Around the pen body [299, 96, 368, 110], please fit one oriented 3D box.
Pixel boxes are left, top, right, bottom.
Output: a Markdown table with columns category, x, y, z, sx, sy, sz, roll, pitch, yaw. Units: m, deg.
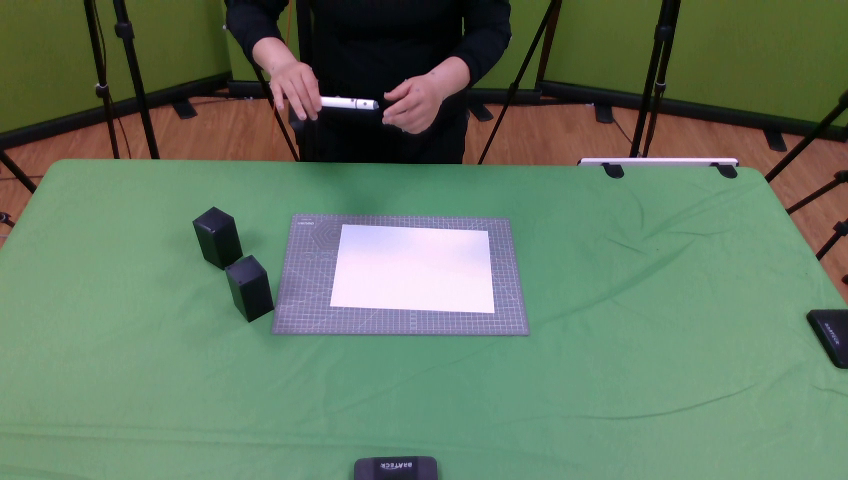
| category | x | y | z | sx | sy | sz | roll | pitch | yaw |
| --- | --- | --- | --- | --- | --- | --- | --- | --- | --- |
| pen body | -0.161 | -0.245 | 1.089 | 0.143 | 0.017 | 0.017 | 10 | 44 | 24 |

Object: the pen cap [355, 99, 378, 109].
| category | x | y | z | sx | sy | sz | roll | pitch | yaw |
| --- | --- | --- | --- | --- | --- | --- | --- | --- | --- |
| pen cap | -0.101 | -0.240 | 1.067 | 0.038 | 0.017 | 0.017 | 7 | 44 | 21 |
